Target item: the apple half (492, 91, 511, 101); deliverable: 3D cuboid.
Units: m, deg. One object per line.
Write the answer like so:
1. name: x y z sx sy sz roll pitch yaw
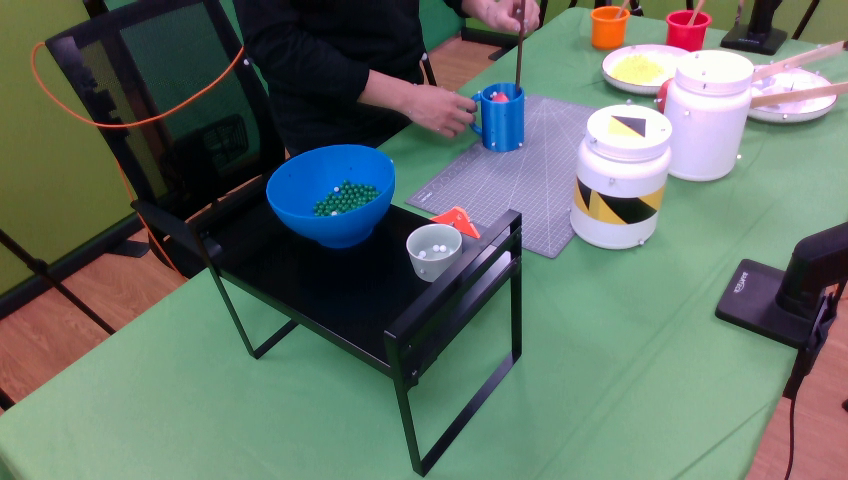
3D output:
1. apple half: 0.144 -0.241 1.155 0.033 0.081 0.080 -14 40 -20

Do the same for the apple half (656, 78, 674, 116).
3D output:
1. apple half: 0.488 -0.281 1.192 0.053 0.075 0.081 24 54 37

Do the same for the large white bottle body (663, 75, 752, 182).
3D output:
1. large white bottle body: 0.472 -0.207 1.022 0.130 0.185 0.130 -4 41 4

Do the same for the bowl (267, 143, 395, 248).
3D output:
1. bowl: -0.104 -0.043 0.726 0.151 0.077 0.150 -4 41 4

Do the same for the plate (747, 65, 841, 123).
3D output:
1. plate: 0.695 -0.282 1.189 0.207 0.039 0.206 -4 40 4

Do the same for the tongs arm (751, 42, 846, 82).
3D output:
1. tongs arm: 0.708 -0.331 1.193 0.386 0.026 0.050 -18 45 -16

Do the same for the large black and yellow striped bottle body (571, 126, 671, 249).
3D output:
1. large black and yellow striped bottle body: 0.296 -0.093 0.915 0.131 0.185 0.130 -3 42 3

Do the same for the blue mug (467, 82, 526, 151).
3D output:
1. blue mug: 0.139 -0.241 1.169 0.116 0.106 0.082 11 44 21

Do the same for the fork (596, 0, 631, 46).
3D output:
1. fork: 0.481 -0.555 1.452 0.028 0.019 0.207 41 104 39

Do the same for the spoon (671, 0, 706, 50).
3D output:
1. spoon: 0.629 -0.520 1.394 0.041 0.022 0.193 30 96 34

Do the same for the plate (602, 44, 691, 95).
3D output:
1. plate: 0.494 -0.367 1.317 0.209 0.038 0.208 -4 40 4

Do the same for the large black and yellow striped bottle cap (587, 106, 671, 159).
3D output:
1. large black and yellow striped bottle cap: 0.290 -0.154 0.858 0.115 0.019 0.114 -4 42 4

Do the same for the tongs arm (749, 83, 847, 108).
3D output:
1. tongs arm: 0.734 -0.280 1.133 0.388 0.028 0.028 -9 47 -5

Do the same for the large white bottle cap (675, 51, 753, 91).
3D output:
1. large white bottle cap: 0.463 -0.271 0.967 0.115 0.018 0.114 -4 40 3

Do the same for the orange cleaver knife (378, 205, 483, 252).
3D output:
1. orange cleaver knife: 0.005 -0.010 0.944 0.210 0.077 0.012 -5 23 47

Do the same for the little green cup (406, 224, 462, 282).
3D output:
1. little green cup: 0.012 0.015 0.668 0.061 0.039 0.061 -4 40 4

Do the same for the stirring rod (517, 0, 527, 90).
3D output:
1. stirring rod: 0.176 -0.357 1.090 0.006 0.176 0.014 -8 35 -10
